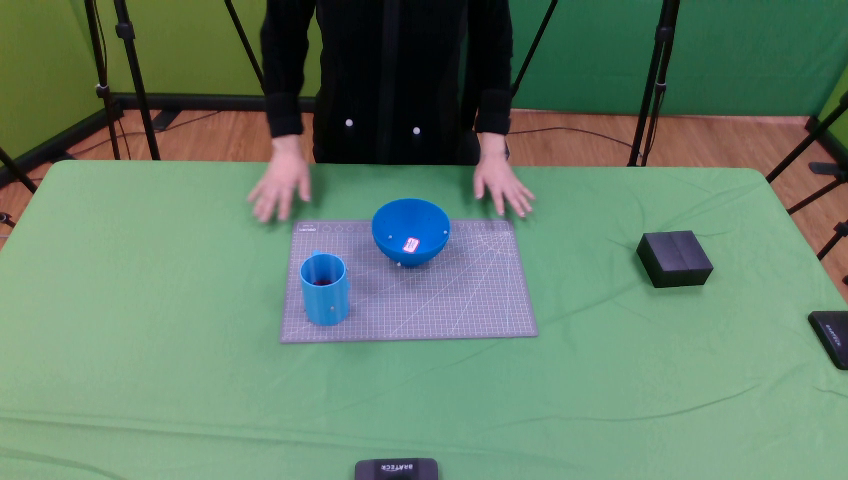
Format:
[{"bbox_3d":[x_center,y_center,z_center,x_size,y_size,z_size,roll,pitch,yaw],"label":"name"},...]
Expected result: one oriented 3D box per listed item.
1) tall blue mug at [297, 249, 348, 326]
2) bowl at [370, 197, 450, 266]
[{"bbox_3d":[-0.183,0.077,1.045,0.106,0.108,0.078,35,54,26],"label":"tall blue mug"},{"bbox_3d":[-0.028,-0.003,1.156,0.151,0.077,0.150,2,46,-2],"label":"bowl"}]
